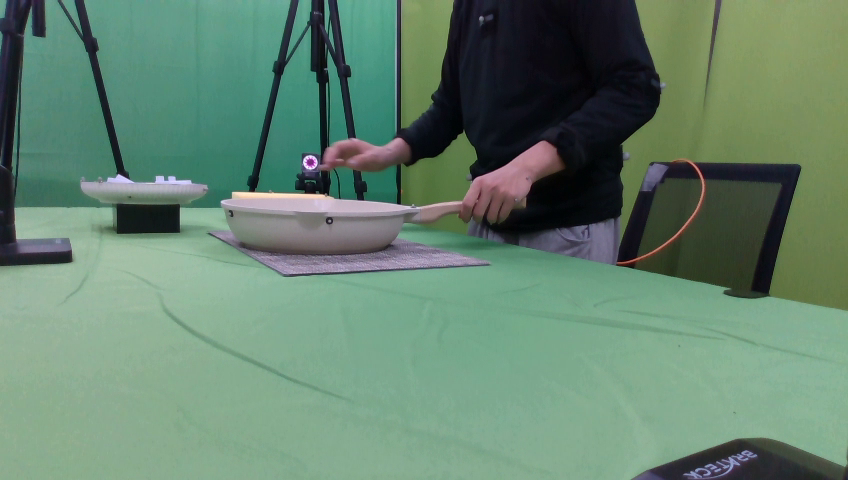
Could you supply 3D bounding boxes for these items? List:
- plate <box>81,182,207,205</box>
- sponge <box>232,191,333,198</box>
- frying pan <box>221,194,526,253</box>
[{"bbox_3d":[-0.504,-0.086,1.100,0.208,0.039,0.207,1,6,0],"label":"plate"},{"bbox_3d":[-0.318,-0.074,1.355,0.208,0.061,0.117,0,7,-24],"label":"sponge"},{"bbox_3d":[-0.070,-0.043,0.984,0.489,0.102,0.306,-7,9,-5],"label":"frying pan"}]
